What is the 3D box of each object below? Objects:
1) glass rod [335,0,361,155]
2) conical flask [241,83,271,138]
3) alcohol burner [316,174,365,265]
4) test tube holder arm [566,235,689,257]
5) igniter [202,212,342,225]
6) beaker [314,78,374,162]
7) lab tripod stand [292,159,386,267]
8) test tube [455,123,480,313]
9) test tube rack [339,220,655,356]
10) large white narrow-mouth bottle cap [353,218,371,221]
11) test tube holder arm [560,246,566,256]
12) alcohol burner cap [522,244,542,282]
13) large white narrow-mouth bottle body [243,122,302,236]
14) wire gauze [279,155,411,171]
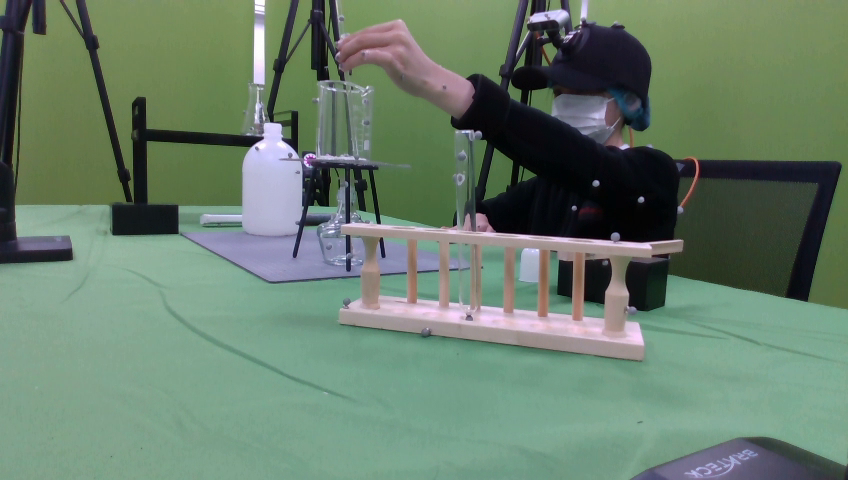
[{"bbox_3d":[-0.095,-0.206,0.756,0.008,0.199,0.008,-7,10,2],"label":"glass rod"},{"bbox_3d":[-0.384,-0.297,1.393,0.075,0.122,0.075,2,7,0],"label":"conical flask"},{"bbox_3d":[-0.102,-0.028,0.790,0.078,0.119,0.078,0,6,0],"label":"alcohol burner"},{"bbox_3d":[0.216,0.006,0.629,0.179,0.015,0.013,-3,11,-30],"label":"test tube holder arm"},{"bbox_3d":[-0.298,-0.044,1.216,0.278,0.025,0.057,-3,-2,-32],"label":"igniter"},{"bbox_3d":[-0.101,-0.150,0.774,0.074,0.100,0.083,-2,8,-40],"label":"beaker"},{"bbox_3d":[-0.105,-0.039,0.798,0.148,0.131,0.148,2,5,0],"label":"lab tripod stand"},{"bbox_3d":[0.034,-0.016,0.476,0.017,0.150,0.017,-2,9,1],"label":"test tube"},{"bbox_3d":[0.056,0.032,0.495,0.242,0.085,0.067,4,7,15],"label":"test tube rack"},{"bbox_3d":[-0.120,-0.029,1.184,0.038,0.024,0.037,2,8,0],"label":"large white narrow-mouth bottle cap"},{"bbox_3d":[0.173,0.007,0.611,0.088,0.015,0.010,-3,11,-29],"label":"test tube holder arm"},{"bbox_3d":[0.136,0.026,0.740,0.034,0.048,0.034,1,6,0],"label":"alcohol burner cap"},{"bbox_3d":[-0.264,-0.109,1.061,0.102,0.194,0.102,2,8,0],"label":"large white narrow-mouth bottle body"},{"bbox_3d":[-0.102,-0.103,0.785,0.121,0.011,0.126,11,8,42],"label":"wire gauze"}]
